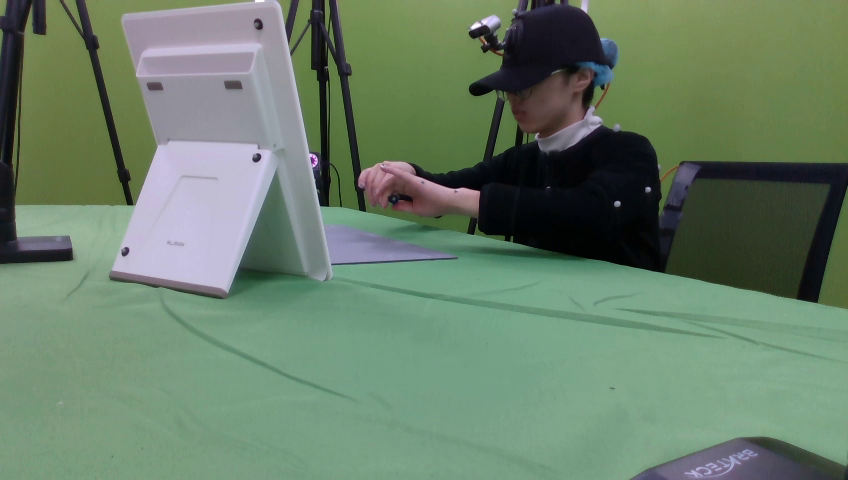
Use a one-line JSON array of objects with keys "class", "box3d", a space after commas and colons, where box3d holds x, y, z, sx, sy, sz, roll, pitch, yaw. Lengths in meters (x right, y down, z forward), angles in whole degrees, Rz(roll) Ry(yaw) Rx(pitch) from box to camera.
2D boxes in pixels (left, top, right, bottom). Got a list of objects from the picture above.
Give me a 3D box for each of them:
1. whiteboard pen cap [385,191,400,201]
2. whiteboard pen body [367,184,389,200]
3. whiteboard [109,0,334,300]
[{"class": "whiteboard pen cap", "box3d": [-0.056, -0.077, 1.047, 0.018, 0.018, 0.033, -1, 11, -23]}, {"class": "whiteboard pen body", "box3d": [-0.077, -0.086, 1.100, 0.017, 0.017, 0.140, -1, 13, -23]}, {"class": "whiteboard", "box3d": [-0.247, -0.072, 0.624, 0.216, 0.305, 0.144, 6, 28, 26]}]
